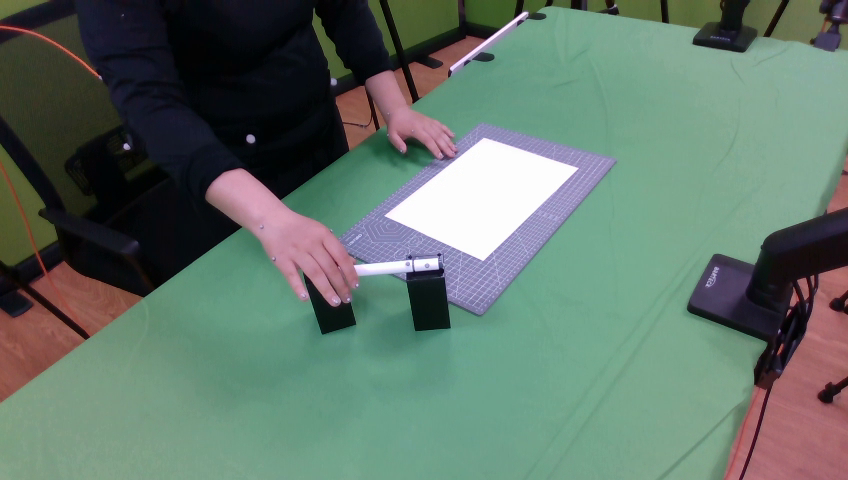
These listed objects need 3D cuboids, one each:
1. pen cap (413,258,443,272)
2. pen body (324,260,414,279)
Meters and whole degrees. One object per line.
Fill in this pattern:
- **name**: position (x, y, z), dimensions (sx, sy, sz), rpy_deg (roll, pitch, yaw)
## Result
- **pen cap**: position (0.005, 0.031, 0.781), dimensions (0.038, 0.017, 0.017), rpy_deg (-5, 40, 2)
- **pen body**: position (-0.058, 0.037, 0.785), dimensions (0.144, 0.017, 0.017), rpy_deg (-5, 40, 4)
